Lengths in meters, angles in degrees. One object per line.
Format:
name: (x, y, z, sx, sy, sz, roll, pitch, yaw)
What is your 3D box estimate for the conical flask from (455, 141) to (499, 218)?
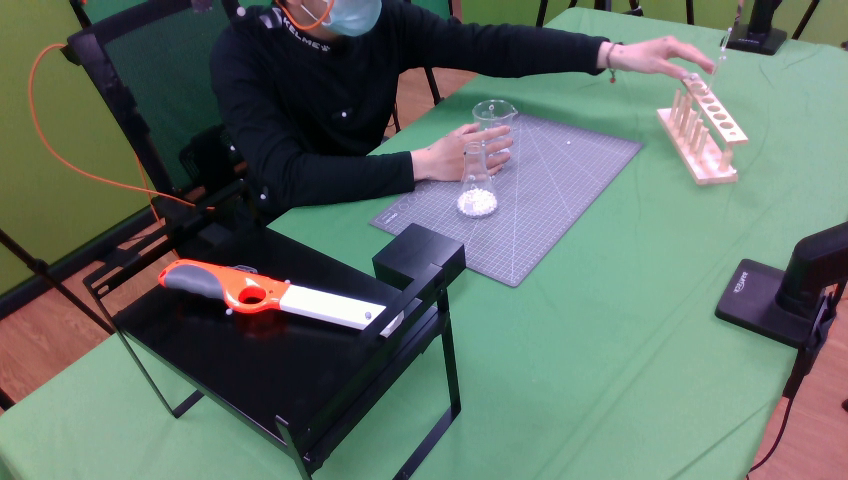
conical flask: (0.085, -0.103, 0.999, 0.075, 0.122, 0.075, -4, 40, 4)

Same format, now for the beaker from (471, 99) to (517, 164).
beaker: (0.131, -0.199, 1.124, 0.084, 0.101, 0.073, 1, 42, 8)

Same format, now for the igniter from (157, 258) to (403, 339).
igniter: (-0.157, 0.059, 0.638, 0.275, 0.025, 0.057, 11, 43, 14)

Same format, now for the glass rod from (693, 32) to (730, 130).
glass rod: (0.507, -0.276, 1.072, 0.008, 0.200, 0.008, -1, 48, 2)

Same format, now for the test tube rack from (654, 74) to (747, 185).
test tube rack: (0.491, -0.205, 1.092, 0.067, 0.085, 0.241, -4, 40, 3)
